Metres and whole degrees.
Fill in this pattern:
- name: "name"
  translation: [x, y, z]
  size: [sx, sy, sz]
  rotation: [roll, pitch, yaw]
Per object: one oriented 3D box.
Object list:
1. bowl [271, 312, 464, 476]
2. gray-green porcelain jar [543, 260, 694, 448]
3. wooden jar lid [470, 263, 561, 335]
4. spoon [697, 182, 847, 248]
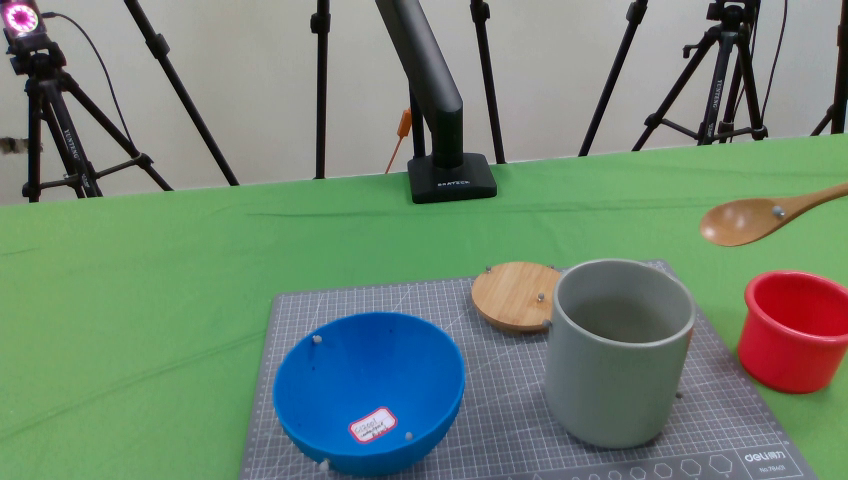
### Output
- name: "bowl"
  translation: [-0.042, 0.136, 0.493]
  size: [0.151, 0.077, 0.150]
  rotation: [-2, 34, 2]
- name: "gray-green porcelain jar"
  translation: [0.152, 0.096, 0.494]
  size: [0.106, 0.127, 0.105]
  rotation: [-2, 35, 2]
- name: "wooden jar lid"
  translation: [0.103, 0.063, 0.643]
  size: [0.108, 0.021, 0.107]
  rotation: [-2, 33, 2]
- name: "spoon"
  translation: [0.261, -0.028, 0.375]
  size: [0.022, 0.193, 0.041]
  rotation: [33, 62, -20]
